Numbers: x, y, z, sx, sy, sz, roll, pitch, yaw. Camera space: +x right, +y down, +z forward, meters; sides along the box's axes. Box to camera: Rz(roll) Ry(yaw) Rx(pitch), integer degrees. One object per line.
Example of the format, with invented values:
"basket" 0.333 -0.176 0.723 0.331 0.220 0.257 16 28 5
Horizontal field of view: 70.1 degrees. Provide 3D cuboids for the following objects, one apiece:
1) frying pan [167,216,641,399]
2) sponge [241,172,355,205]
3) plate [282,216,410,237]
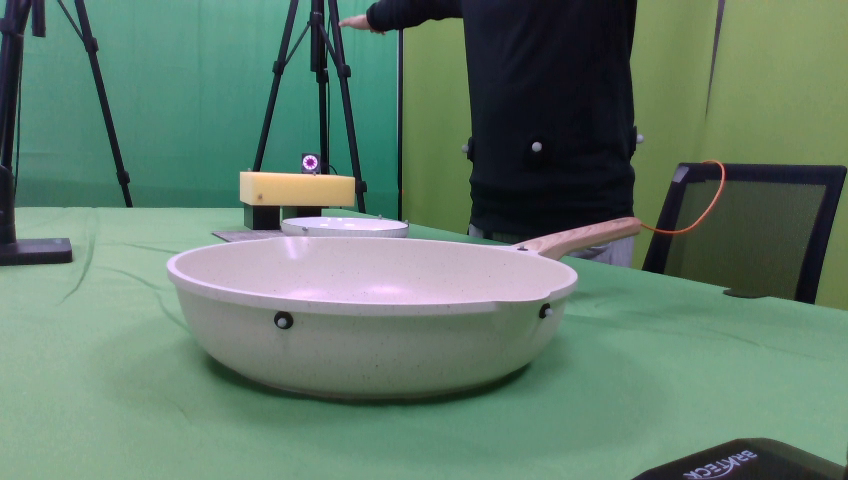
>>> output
"frying pan" 0.046 0.024 0.519 0.490 0.102 0.305 -13 16 -37
"sponge" -0.257 -0.105 1.226 0.208 0.061 0.117 -2 8 -28
"plate" -0.126 -0.012 0.986 0.208 0.039 0.207 2 7 0
